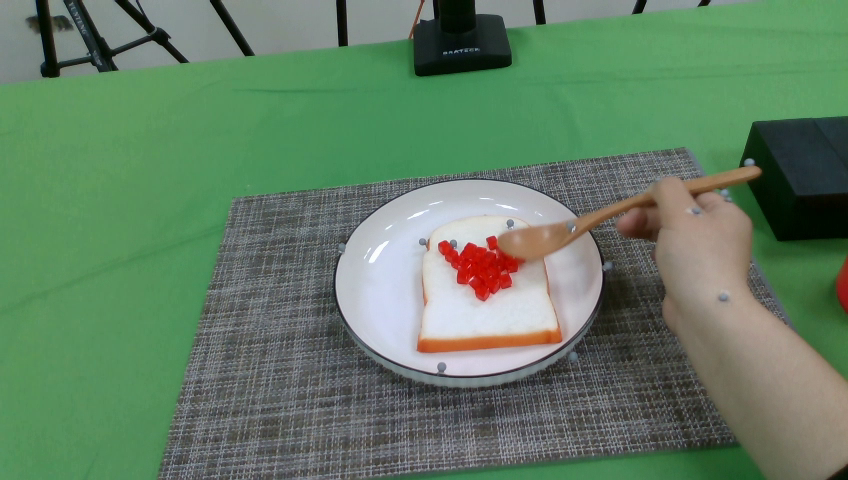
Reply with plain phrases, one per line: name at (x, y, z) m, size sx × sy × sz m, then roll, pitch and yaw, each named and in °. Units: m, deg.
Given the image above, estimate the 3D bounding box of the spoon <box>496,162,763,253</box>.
spoon at (0.148, -0.025, 0.444) m, size 0.193 × 0.022 × 0.041 m, roll -19°, pitch 30°, yaw 12°

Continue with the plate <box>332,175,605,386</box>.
plate at (0.033, 0.028, 0.478) m, size 0.209 × 0.038 × 0.207 m, roll -4°, pitch 46°, yaw 5°

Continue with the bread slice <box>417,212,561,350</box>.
bread slice at (0.046, 0.028, 0.480) m, size 0.105 × 0.019 × 0.130 m, roll -4°, pitch 46°, yaw 3°
